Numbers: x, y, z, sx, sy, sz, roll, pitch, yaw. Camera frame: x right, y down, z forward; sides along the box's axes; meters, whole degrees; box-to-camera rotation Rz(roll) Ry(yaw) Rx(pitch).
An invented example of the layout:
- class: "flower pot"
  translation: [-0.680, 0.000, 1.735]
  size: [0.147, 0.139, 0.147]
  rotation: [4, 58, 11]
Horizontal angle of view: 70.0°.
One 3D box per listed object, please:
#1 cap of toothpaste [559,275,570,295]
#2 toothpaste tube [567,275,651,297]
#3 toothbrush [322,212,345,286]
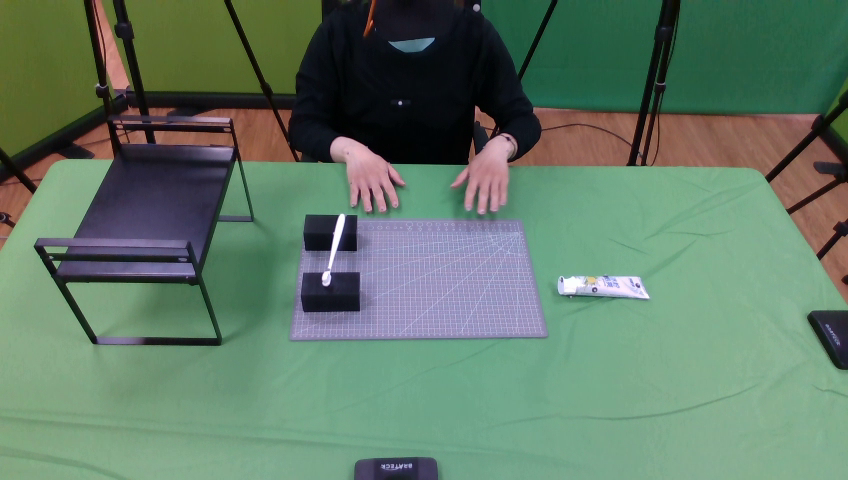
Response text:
- class: "cap of toothpaste"
  translation: [0.261, 0.083, 1.120]
  size: [0.011, 0.037, 0.037]
  rotation: [0, 47, -9]
- class: "toothpaste tube"
  translation: [0.339, 0.085, 1.132]
  size: [0.165, 0.035, 0.054]
  rotation: [0, 50, -9]
- class: "toothbrush"
  translation: [-0.164, 0.011, 1.101]
  size: [0.014, 0.017, 0.181]
  rotation: [-6, 44, 12]
